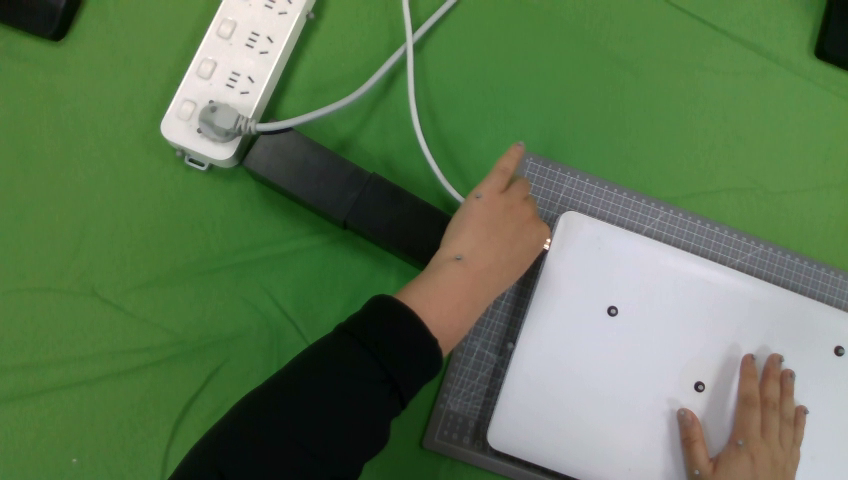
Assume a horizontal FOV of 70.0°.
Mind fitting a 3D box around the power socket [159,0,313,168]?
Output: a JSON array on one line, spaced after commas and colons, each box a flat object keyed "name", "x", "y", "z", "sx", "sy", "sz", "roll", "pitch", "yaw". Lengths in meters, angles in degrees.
[{"name": "power socket", "x": -0.170, "y": -0.174, "z": 0.567, "sx": 0.072, "sy": 0.032, "sz": 0.226, "roll": 23, "pitch": 81, "yaw": -4}]

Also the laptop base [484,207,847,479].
[{"name": "laptop base", "x": 0.255, "y": 0.134, "z": 0.583, "sx": 0.355, "sy": 0.023, "sz": 0.235, "roll": 20, "pitch": 85, "yaw": -4}]

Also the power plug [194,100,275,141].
[{"name": "power plug", "x": -0.170, "y": -0.096, "z": 0.538, "sx": 0.072, "sy": 0.052, "sz": 0.035, "roll": 36, "pitch": 79, "yaw": -2}]

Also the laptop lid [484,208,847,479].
[{"name": "laptop lid", "x": 0.255, "y": 0.135, "z": 0.571, "sx": 0.357, "sy": 0.013, "sz": 0.241, "roll": 22, "pitch": 84, "yaw": -3}]

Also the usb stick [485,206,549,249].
[{"name": "usb stick", "x": 0.090, "y": -0.010, "z": 0.577, "sx": 0.059, "sy": 0.027, "sz": 0.021, "roll": 27, "pitch": 89, "yaw": -1}]

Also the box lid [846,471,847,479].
[{"name": "box lid", "x": 0.513, "y": 0.344, "z": 0.589, "sx": 0.264, "sy": 0.015, "sz": 0.370, "roll": 20, "pitch": 82, "yaw": -4}]
